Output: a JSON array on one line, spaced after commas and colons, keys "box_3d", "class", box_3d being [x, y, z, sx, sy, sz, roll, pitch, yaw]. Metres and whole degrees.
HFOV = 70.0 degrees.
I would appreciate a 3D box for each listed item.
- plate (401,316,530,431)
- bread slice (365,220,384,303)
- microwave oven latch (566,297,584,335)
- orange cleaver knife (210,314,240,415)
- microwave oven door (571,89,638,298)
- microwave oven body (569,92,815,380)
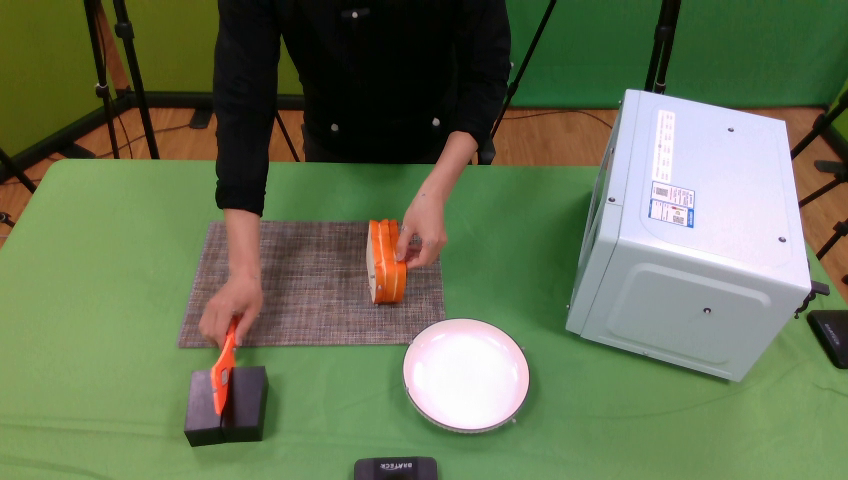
[{"box_3d": [0.066, 0.217, 0.982, 0.208, 0.039, 0.206, 2, 46, -2], "class": "plate"}, {"box_3d": [-0.090, 0.044, 1.084, 0.018, 0.107, 0.133, -4, 45, -11], "class": "bread slice"}, {"box_3d": [0.268, 0.126, 1.059, 0.030, 0.029, 0.079, 16, 46, 12], "class": "microwave oven latch"}, {"box_3d": [-0.305, 0.186, 0.941, 0.012, 0.077, 0.210, -6, 22, -5], "class": "orange cleaver knife"}, {"box_3d": [0.343, -0.091, 1.132, 0.039, 0.245, 0.354, 15, 47, 10], "class": "microwave oven door"}, {"box_3d": [0.468, -0.021, 1.082, 0.325, 0.261, 0.440, 15, 46, 11], "class": "microwave oven body"}]
